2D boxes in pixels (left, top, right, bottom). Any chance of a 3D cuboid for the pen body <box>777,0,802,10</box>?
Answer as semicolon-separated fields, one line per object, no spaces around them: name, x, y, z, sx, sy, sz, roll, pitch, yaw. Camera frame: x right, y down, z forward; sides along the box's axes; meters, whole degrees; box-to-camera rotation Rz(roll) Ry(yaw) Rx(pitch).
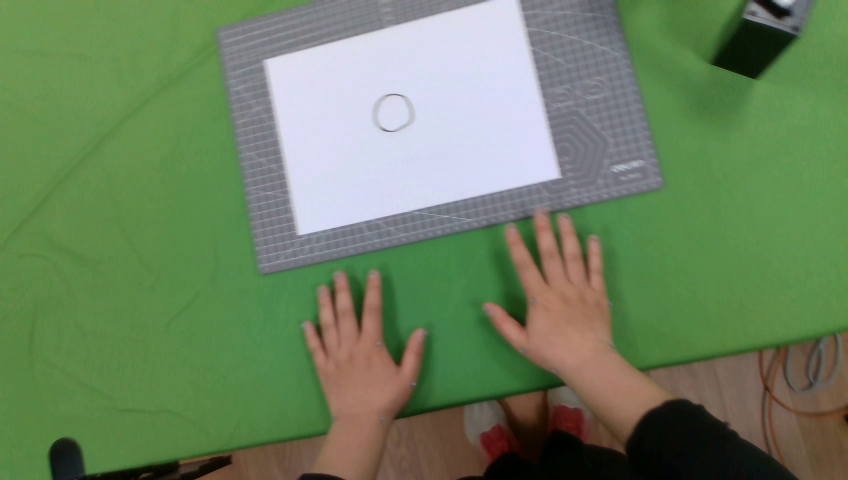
pen body;0.274;-0.253;0.539;0.143;0.017;0.017;43;91;10
